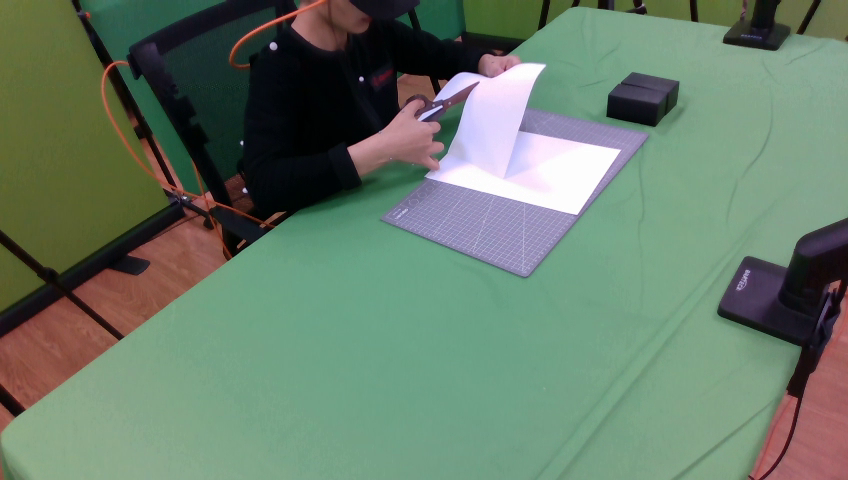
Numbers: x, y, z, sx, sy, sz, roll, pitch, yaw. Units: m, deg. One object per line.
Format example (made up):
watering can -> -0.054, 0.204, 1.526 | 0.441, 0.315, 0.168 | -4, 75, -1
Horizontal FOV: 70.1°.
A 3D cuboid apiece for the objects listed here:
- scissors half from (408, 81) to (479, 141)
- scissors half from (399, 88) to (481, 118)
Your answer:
scissors half -> 0.041, -0.247, 1.148 | 0.175, 0.040, 0.012 | -43, 33, -6
scissors half -> 0.033, -0.265, 1.136 | 0.176, 0.040, 0.012 | -18, 31, -22
